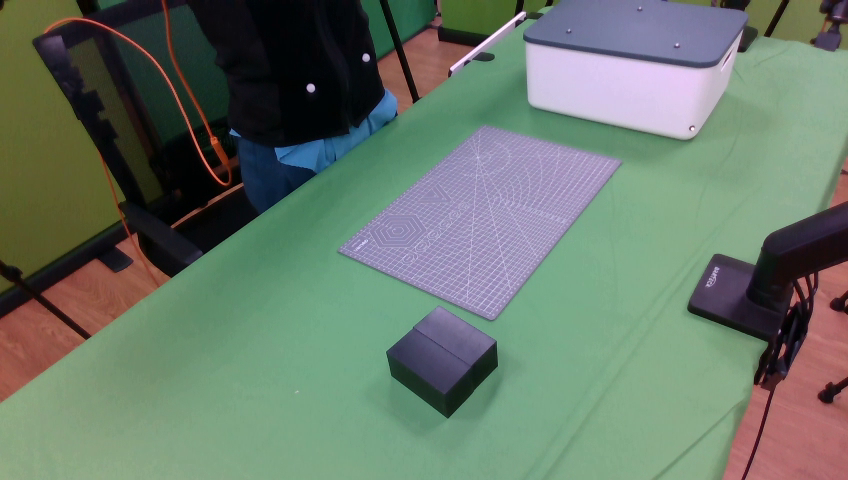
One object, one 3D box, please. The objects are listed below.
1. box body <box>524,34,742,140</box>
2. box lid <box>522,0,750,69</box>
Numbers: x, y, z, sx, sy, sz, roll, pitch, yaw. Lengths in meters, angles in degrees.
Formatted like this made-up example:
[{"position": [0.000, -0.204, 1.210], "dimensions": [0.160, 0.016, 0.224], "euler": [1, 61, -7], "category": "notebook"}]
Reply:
[{"position": [0.412, -0.354, 1.212], "dimensions": [0.361, 0.161, 0.254], "euler": [20, 48, 29], "category": "box body"}, {"position": [0.405, -0.409, 1.163], "dimensions": [0.369, 0.015, 0.264], "euler": [20, 47, 29], "category": "box lid"}]
